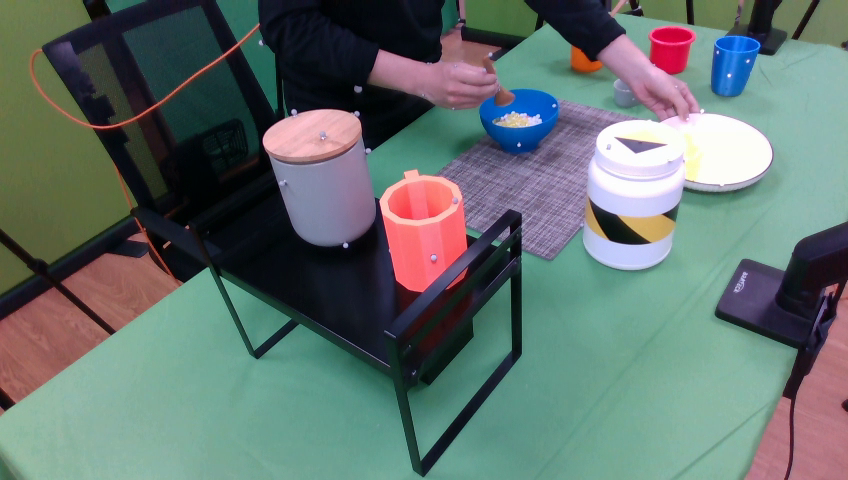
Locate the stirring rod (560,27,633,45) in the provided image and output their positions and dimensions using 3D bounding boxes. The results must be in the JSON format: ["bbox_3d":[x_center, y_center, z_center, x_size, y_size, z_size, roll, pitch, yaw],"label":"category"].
[{"bbox_3d":[0.381,-0.454,1.344,0.174,0.006,0.014,26,49,33],"label":"stirring rod"}]

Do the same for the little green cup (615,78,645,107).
[{"bbox_3d":[0.426,-0.306,1.257,0.061,0.039,0.061,-4,40,4],"label":"little green cup"}]

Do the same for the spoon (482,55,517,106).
[{"bbox_3d":[0.123,-0.266,1.018,0.041,0.195,0.021,-17,73,16],"label":"spoon"}]

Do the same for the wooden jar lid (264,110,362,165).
[{"bbox_3d":[-0.122,-0.112,0.673,0.108,0.021,0.108,-4,37,4],"label":"wooden jar lid"}]

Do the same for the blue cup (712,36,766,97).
[{"bbox_3d":[0.627,-0.350,1.227,0.092,0.100,0.092,-4,39,4],"label":"blue cup"}]

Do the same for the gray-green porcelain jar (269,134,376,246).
[{"bbox_3d":[-0.115,-0.064,0.715,0.106,0.127,0.105,-4,40,4],"label":"gray-green porcelain jar"}]

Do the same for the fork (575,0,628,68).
[{"bbox_3d":[0.413,-0.481,1.377,0.207,0.019,0.028,-57,43,12],"label":"fork"}]

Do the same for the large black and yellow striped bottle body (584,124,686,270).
[{"bbox_3d":[0.304,-0.063,0.880,0.131,0.185,0.130,-5,41,5],"label":"large black and yellow striped bottle body"}]

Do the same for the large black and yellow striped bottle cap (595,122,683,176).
[{"bbox_3d":[0.293,-0.126,0.826,0.115,0.019,0.114,-3,40,3],"label":"large black and yellow striped bottle cap"}]

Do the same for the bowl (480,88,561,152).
[{"bbox_3d":[0.185,-0.222,1.160,0.151,0.077,0.150,-4,40,4],"label":"bowl"}]

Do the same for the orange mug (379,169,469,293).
[{"bbox_3d":[-0.002,-0.019,0.666,0.083,0.101,0.125,-12,44,-4],"label":"orange mug"}]

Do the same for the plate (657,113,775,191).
[{"bbox_3d":[0.495,-0.151,1.059,0.209,0.038,0.208,-5,44,5],"label":"plate"}]
